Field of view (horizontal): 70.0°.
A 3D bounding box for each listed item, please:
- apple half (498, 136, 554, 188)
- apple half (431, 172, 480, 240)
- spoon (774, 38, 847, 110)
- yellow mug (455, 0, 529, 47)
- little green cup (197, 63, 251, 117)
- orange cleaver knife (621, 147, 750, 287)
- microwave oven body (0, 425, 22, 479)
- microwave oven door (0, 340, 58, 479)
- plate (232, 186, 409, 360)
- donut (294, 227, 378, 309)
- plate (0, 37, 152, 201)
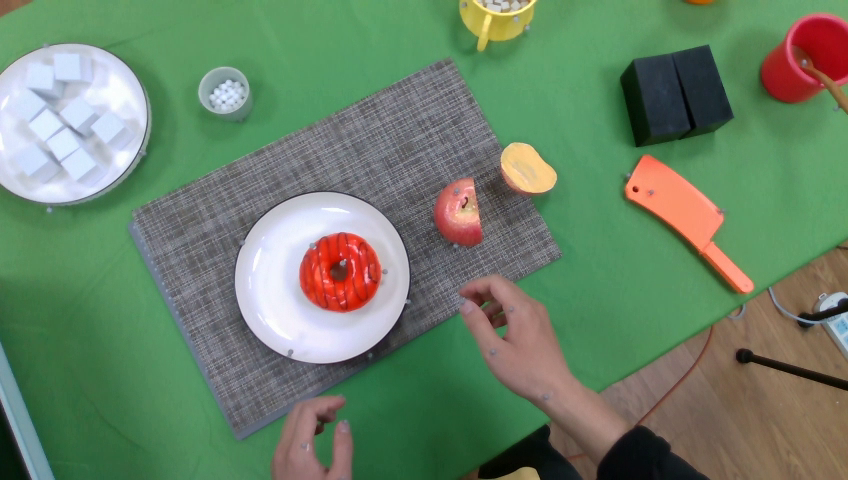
[{"bbox_3d":[0.119,-0.090,0.755,0.082,0.033,0.080,15,52,-19],"label":"apple half"},{"bbox_3d":[0.036,-0.037,0.728,0.053,0.075,0.080,-10,85,0],"label":"apple half"},{"bbox_3d":[0.475,-0.204,0.734,0.041,0.022,0.192,6,36,0],"label":"spoon"},{"bbox_3d":[0.087,-0.310,0.778,0.100,0.064,0.130,18,82,1],"label":"yellow mug"},{"bbox_3d":[-0.249,-0.185,0.763,0.061,0.039,0.061,0,81,-1],"label":"little green cup"},{"bbox_3d":[0.339,-0.031,0.766,0.077,0.012,0.211,-44,84,-12],"label":"orange cleaver knife"},{"bbox_3d":[-0.583,0.271,0.567,0.326,0.261,0.440,-26,83,-6],"label":"microwave oven body"},{"bbox_3d":[-0.434,0.244,0.571,0.039,0.244,0.354,-27,83,-5],"label":"microwave oven door"},{"bbox_3d":[-0.122,0.039,0.729,0.209,0.038,0.208,0,82,-1],"label":"plate"},{"bbox_3d":[-0.104,0.034,0.719,0.099,0.048,0.098,0,83,-3],"label":"donut"},{"bbox_3d":[-0.440,-0.147,0.752,0.208,0.039,0.207,0,81,-1],"label":"plate"}]
